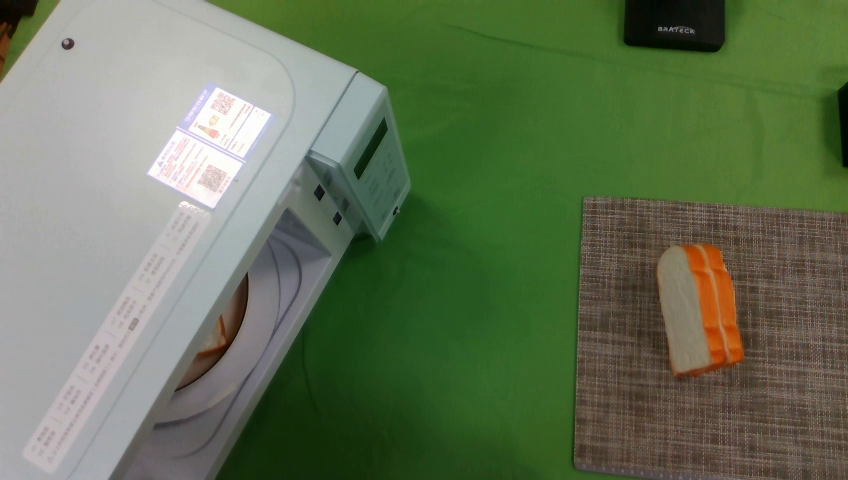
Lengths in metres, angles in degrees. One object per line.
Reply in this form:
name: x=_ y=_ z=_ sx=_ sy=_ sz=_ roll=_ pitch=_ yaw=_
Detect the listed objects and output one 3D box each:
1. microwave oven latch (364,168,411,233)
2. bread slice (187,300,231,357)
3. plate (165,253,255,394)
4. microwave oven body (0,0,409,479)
microwave oven latch: x=-0.043 y=-0.050 z=0.695 sx=0.030 sy=0.029 sz=0.079 roll=28 pitch=80 yaw=9
bread slice: x=-0.276 y=0.082 z=0.634 sx=0.134 sy=0.018 sz=0.106 roll=-19 pitch=74 yaw=-8
plate: x=-0.277 y=0.058 z=0.636 sx=0.207 sy=0.039 sz=0.206 roll=0 pitch=77 yaw=2
microwave oven body: x=-0.263 y=0.015 z=0.594 sx=0.325 sy=0.261 sz=0.440 roll=26 pitch=80 yaw=9
